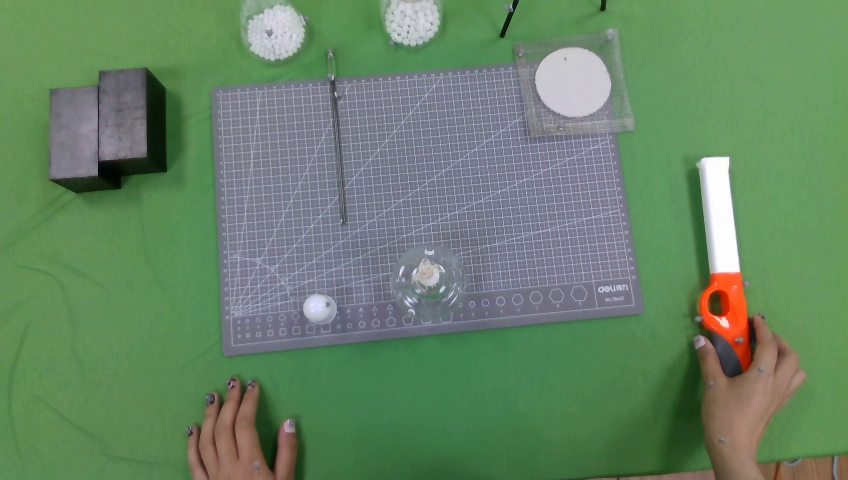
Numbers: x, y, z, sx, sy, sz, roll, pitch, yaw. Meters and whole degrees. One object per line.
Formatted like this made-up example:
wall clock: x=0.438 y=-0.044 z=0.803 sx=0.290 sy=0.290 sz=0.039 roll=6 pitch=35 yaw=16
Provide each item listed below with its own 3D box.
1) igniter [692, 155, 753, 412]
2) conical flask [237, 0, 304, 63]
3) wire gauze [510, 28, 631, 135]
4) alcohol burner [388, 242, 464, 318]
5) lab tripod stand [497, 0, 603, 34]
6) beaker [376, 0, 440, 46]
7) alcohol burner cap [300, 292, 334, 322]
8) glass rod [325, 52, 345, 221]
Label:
igniter: x=0.319 y=0.043 z=0.653 sx=0.057 sy=0.025 sz=0.275 roll=-1 pitch=81 yaw=0
conical flask: x=-0.174 y=-0.248 z=0.642 sx=0.075 sy=0.122 sz=0.075 roll=0 pitch=79 yaw=-1
wire gauze: x=0.168 y=-0.181 z=0.695 sx=0.125 sy=0.011 sz=0.121 roll=-6 pitch=80 yaw=-3
alcohol burner: x=0.002 y=0.038 z=0.599 sx=0.078 sy=0.119 sz=0.077 roll=0 pitch=82 yaw=-1
lab tripod stand: x=0.139 y=-0.302 z=0.654 sx=0.148 sy=0.132 sz=0.148 roll=0 pitch=82 yaw=-2
beaker: x=-0.018 y=-0.268 z=0.661 sx=0.074 sy=0.100 sz=0.083 roll=-3 pitch=79 yaw=-2
alcohol burner cap: x=-0.113 y=0.068 z=0.627 sx=0.034 sy=0.048 sz=0.033 roll=0 pitch=80 yaw=-2
glass rod: x=-0.100 y=-0.118 z=0.675 sx=0.008 sy=0.008 sz=0.199 roll=-6 pitch=80 yaw=-3
